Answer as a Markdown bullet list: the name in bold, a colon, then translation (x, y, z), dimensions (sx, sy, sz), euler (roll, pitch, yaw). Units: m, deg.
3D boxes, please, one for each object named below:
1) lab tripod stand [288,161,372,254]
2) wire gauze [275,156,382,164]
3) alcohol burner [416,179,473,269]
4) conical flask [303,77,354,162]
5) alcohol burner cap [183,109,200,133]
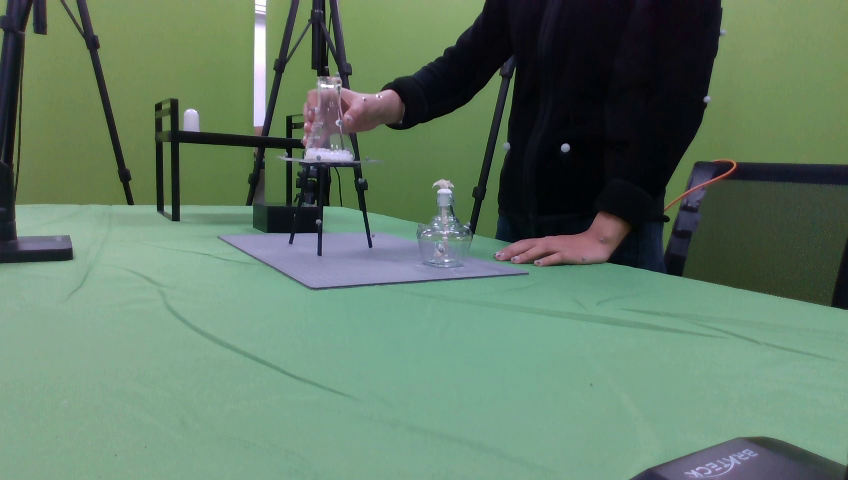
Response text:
- **lab tripod stand**: translation (-0.148, -0.052, 0.908), dimensions (0.148, 0.131, 0.148), euler (1, 8, 0)
- **wire gauze**: translation (-0.142, -0.116, 0.899), dimensions (0.122, 0.011, 0.124), euler (-2, 6, -36)
- **alcohol burner**: translation (0.028, -0.022, 0.816), dimensions (0.078, 0.119, 0.078), euler (0, 6, 0)
- **conical flask**: translation (-0.141, -0.176, 0.892), dimensions (0.075, 0.122, 0.075), euler (1, 8, 0)
- **alcohol burner cap**: translation (-0.472, -0.241, 1.229), dimensions (0.034, 0.048, 0.034), euler (3, 8, 0)
